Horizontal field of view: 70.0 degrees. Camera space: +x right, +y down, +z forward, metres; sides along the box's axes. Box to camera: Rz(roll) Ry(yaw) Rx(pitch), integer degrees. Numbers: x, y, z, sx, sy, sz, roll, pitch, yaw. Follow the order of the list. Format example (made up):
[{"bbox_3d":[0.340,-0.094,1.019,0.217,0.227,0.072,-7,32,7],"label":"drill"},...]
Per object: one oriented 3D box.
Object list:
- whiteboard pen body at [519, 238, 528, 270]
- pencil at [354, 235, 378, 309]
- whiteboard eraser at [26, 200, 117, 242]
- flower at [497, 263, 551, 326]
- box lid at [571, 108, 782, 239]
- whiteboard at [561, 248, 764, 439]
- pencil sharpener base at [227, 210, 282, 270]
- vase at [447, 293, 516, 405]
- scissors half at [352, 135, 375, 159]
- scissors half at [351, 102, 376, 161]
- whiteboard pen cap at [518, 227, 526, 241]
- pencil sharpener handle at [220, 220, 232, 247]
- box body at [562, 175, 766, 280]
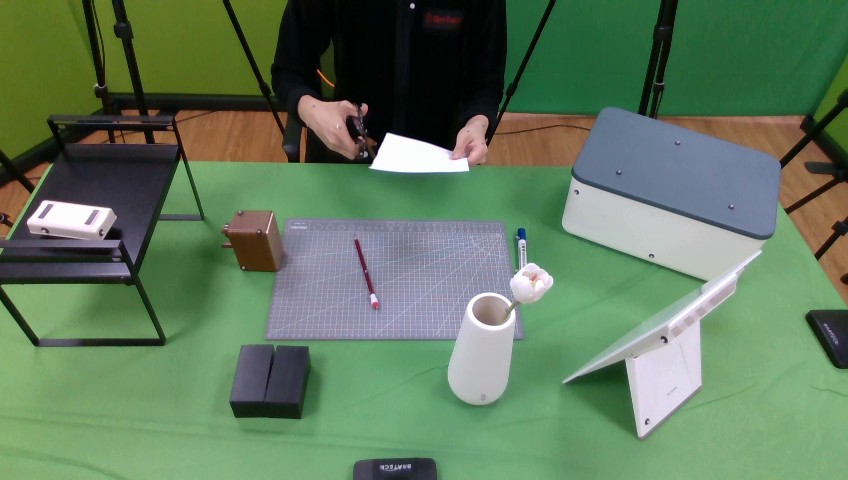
[{"bbox_3d":[0.193,0.035,1.180,0.017,0.017,0.140,6,48,1],"label":"whiteboard pen body"},{"bbox_3d":[-0.112,0.055,1.143,0.012,0.012,0.192,-10,46,-13],"label":"pencil"},{"bbox_3d":[-0.532,-0.026,0.919,0.113,0.042,0.055,7,45,3],"label":"whiteboard eraser"},{"bbox_3d":[0.102,0.121,0.852,0.044,0.363,0.038,-2,64,-10],"label":"flower"},{"bbox_3d":[0.491,-0.139,1.168,0.370,0.015,0.262,21,49,15],"label":"box lid"},{"bbox_3d":[0.386,0.176,0.905,0.217,0.306,0.143,-26,72,-27],"label":"whiteboard"},{"bbox_3d":[-0.311,0.001,1.112,0.077,0.107,0.061,1,47,1],"label":"pencil sharpener base"},{"bbox_3d":[0.091,0.169,0.921,0.098,0.201,0.097,3,47,-3],"label":"vase"},{"bbox_3d":[-0.103,-0.164,1.046,0.013,0.040,0.174,-6,5,-16],"label":"scissors half"},{"bbox_3d":[-0.103,-0.186,1.036,0.013,0.040,0.174,-10,46,-14],"label":"scissors half"},{"bbox_3d":[0.197,-0.009,1.220,0.018,0.018,0.033,6,51,1],"label":"whiteboard pen cap"},{"bbox_3d":[-0.362,-0.009,1.105,0.030,0.068,0.036,1,52,1],"label":"pencil sharpener handle"},{"bbox_3d":[0.486,-0.088,1.222,0.363,0.161,0.253,20,48,15],"label":"box body"}]
